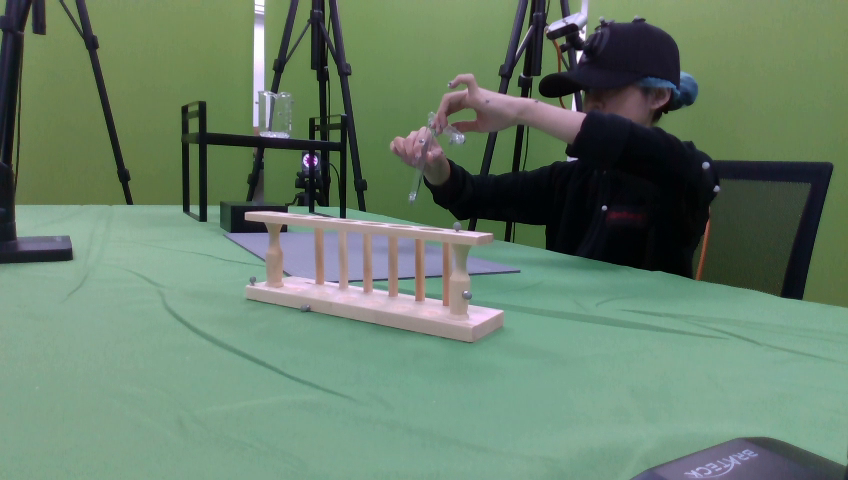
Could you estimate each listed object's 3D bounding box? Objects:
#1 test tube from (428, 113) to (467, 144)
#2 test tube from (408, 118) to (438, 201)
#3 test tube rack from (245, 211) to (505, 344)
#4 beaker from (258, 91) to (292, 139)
[{"bbox_3d":[0.033,-0.166,0.893,0.017,0.017,0.150,0,22,-18],"label":"test tube"},{"bbox_3d":[-0.003,-0.130,1.002,0.017,0.150,0.017,13,29,-7],"label":"test tube"},{"bbox_3d":[-0.049,0.025,0.547,0.241,0.085,0.067,7,8,28],"label":"test tube rack"},{"bbox_3d":[-0.331,-0.276,1.343,0.074,0.100,0.083,0,8,-20],"label":"beaker"}]
